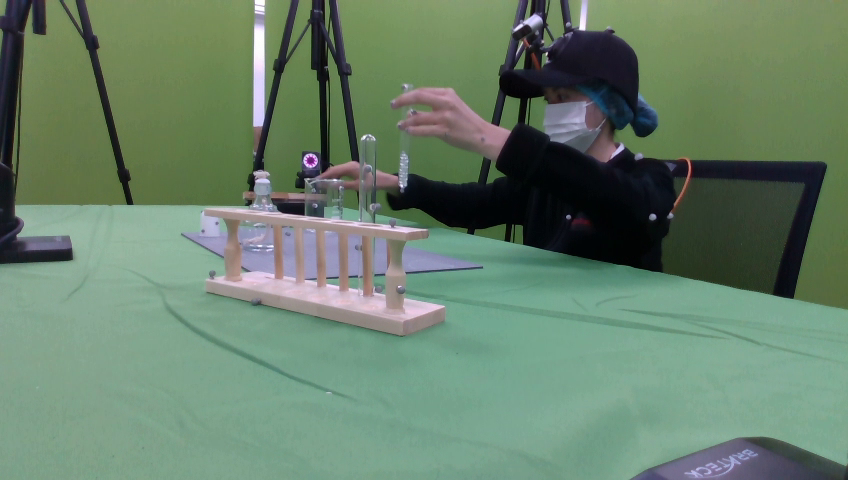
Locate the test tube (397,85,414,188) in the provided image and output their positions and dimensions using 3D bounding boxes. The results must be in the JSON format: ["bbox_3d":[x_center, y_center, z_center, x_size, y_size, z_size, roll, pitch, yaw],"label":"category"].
[{"bbox_3d":[-0.027,-0.151,0.888,0.017,0.150,0.017,4,9,0],"label":"test tube"}]

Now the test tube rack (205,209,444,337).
[{"bbox_3d":[-0.100,0.021,0.565,0.241,0.085,0.067,7,9,32],"label":"test tube rack"}]

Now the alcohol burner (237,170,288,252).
[{"bbox_3d":[-0.236,-0.042,0.882,0.078,0.119,0.078,2,9,0],"label":"alcohol burner"}]

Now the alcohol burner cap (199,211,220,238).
[{"bbox_3d":[-0.356,-0.027,1.002,0.034,0.048,0.034,2,7,0],"label":"alcohol burner cap"}]

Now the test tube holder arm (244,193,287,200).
[{"bbox_3d":[-0.322,-0.089,1.232,0.088,0.015,0.010,-2,3,-32],"label":"test tube holder arm"}]

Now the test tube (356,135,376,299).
[{"bbox_3d":[-0.053,-0.019,0.550,0.017,0.150,0.017,2,9,0],"label":"test tube"}]

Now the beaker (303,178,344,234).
[{"bbox_3d":[-0.189,-0.063,1.119,0.073,0.100,0.084,6,9,28],"label":"beaker"}]

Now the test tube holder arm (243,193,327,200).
[{"bbox_3d":[-0.287,-0.090,1.261,0.179,0.015,0.013,-2,2,-33],"label":"test tube holder arm"}]
